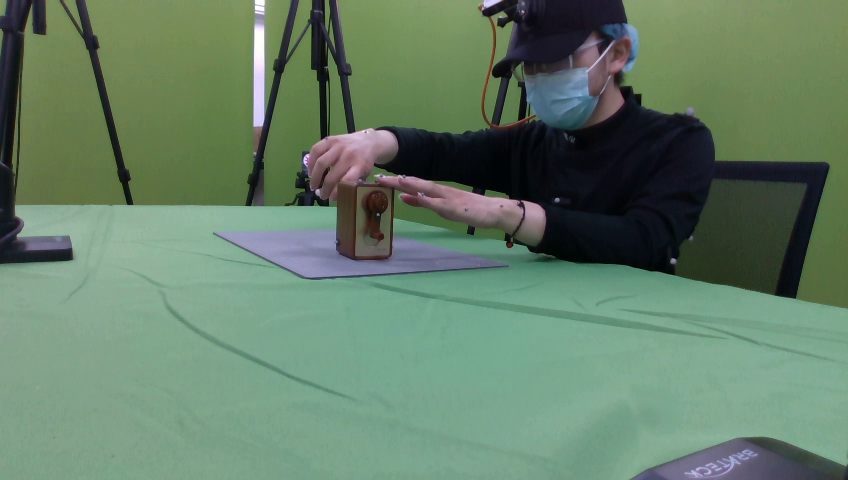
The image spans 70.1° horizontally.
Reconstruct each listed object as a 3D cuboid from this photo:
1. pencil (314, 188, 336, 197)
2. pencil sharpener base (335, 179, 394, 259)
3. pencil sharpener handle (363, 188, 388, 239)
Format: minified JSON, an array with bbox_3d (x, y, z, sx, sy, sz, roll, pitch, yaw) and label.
[{"bbox_3d":[-0.136,-0.071,0.945,0.012,0.012,0.193,-2,8,-30],"label":"pencil"},{"bbox_3d":[-0.085,-0.030,0.855,0.061,0.107,0.076,-1,9,-29],"label":"pencil sharpener base"},{"bbox_3d":[-0.061,-0.035,0.808,0.036,0.067,0.030,3,6,-29],"label":"pencil sharpener handle"}]
